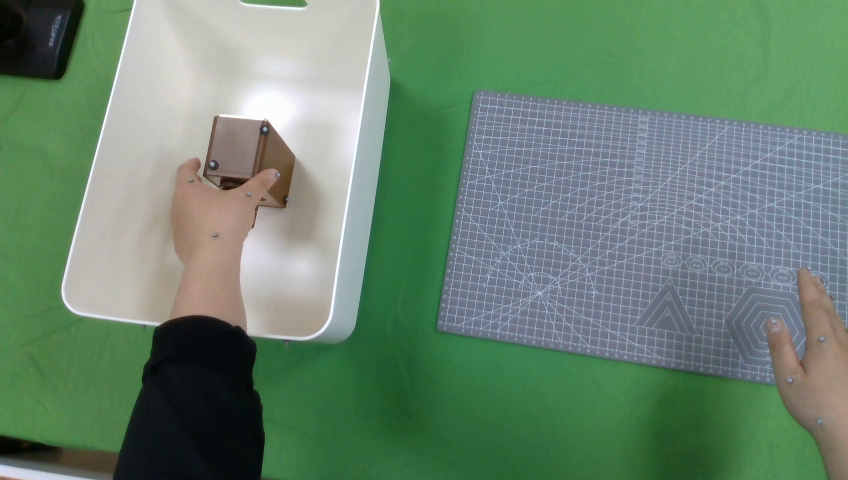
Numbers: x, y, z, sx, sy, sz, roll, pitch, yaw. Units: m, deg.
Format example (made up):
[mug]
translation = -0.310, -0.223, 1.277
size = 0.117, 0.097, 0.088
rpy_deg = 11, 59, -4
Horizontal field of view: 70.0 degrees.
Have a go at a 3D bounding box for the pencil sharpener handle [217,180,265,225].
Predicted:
[pencil sharpener handle]
translation = -0.196, -0.039, 0.653
size = 0.036, 0.068, 0.030
rpy_deg = 1, 76, 24

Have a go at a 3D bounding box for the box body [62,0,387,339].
[box body]
translation = -0.185, -0.082, 0.654
size = 0.254, 0.161, 0.362
rpy_deg = 5, 78, 4

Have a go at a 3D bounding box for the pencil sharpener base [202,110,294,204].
[pencil sharpener base]
translation = -0.194, -0.086, 0.677
size = 0.061, 0.107, 0.076
rpy_deg = 6, 77, 6
